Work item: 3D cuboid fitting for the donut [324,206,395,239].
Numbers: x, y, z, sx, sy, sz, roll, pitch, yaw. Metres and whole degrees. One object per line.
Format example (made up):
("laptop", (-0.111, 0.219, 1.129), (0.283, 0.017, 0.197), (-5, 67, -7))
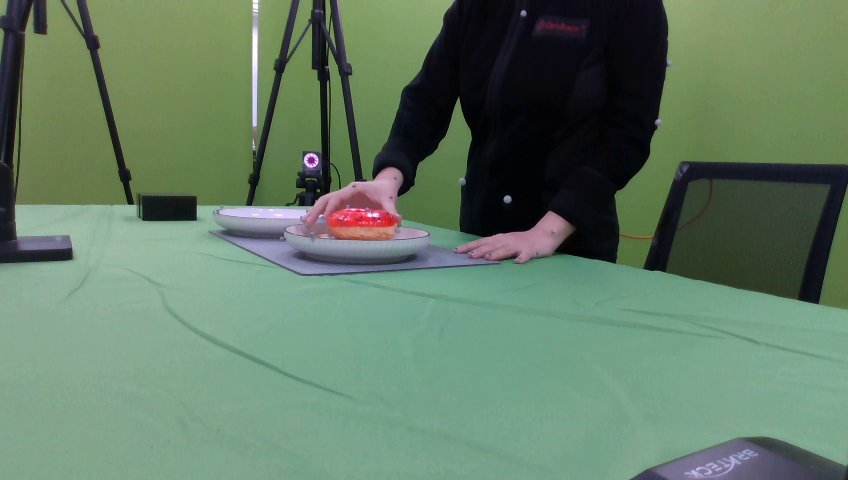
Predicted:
("donut", (-0.089, -0.022, 0.847), (0.099, 0.048, 0.099), (4, 8, 0))

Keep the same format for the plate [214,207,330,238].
("plate", (-0.268, -0.032, 1.084), (0.208, 0.039, 0.207), (2, 7, 0))

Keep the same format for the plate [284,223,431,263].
("plate", (-0.094, 0.003, 0.868), (0.209, 0.038, 0.209), (2, 7, 0))

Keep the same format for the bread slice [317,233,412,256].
("bread slice", (-0.096, 0.005, 0.863), (0.107, 0.018, 0.133), (-2, 8, -30))
